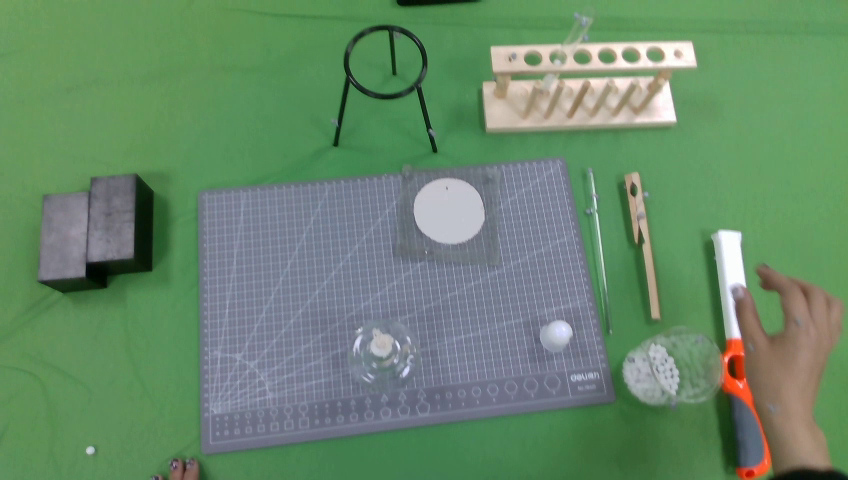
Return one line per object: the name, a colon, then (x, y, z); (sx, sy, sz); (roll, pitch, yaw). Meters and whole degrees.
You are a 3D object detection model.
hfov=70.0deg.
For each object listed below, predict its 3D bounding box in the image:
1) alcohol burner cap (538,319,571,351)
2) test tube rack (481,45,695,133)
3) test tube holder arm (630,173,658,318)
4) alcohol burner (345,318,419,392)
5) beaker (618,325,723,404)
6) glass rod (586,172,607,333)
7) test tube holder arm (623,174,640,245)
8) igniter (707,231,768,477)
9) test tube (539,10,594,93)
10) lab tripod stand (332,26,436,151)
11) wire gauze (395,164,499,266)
alcohol burner cap: (0.147, 0.104, 0.673); (0.034, 0.048, 0.033); (1, 72, -2)
test tube rack: (0.198, -0.185, 0.747); (0.242, 0.085, 0.066); (-2, 72, -3)
test tube holder arm: (0.262, 0.005, 0.724); (0.013, 0.015, 0.177); (-13, 71, 28)
alcohol burner: (-0.044, 0.115, 0.623); (0.078, 0.120, 0.077); (0, 71, 0)
beaker: (0.252, 0.134, 0.642); (0.084, 0.101, 0.073); (25, 72, 7)
glass rod: (0.207, 0.012, 0.725); (0.008, 0.008, 0.198); (0, 75, -3)
test tube holder arm: (0.255, -0.037, 0.739); (0.010, 0.015, 0.087); (-13, 71, 28)
igniter: (0.354, 0.123, 0.688); (0.057, 0.025, 0.275); (5, 72, -11)
test tube: (0.161, -0.213, 0.702); (0.017, 0.151, 0.017); (2, 73, -7)
lab tripod stand: (-0.046, -0.168, 0.705); (0.148, 0.132, 0.147); (1, 74, -2)
wire gauze: (0.029, -0.033, 0.729); (0.125, 0.011, 0.121); (5, 73, -2)
